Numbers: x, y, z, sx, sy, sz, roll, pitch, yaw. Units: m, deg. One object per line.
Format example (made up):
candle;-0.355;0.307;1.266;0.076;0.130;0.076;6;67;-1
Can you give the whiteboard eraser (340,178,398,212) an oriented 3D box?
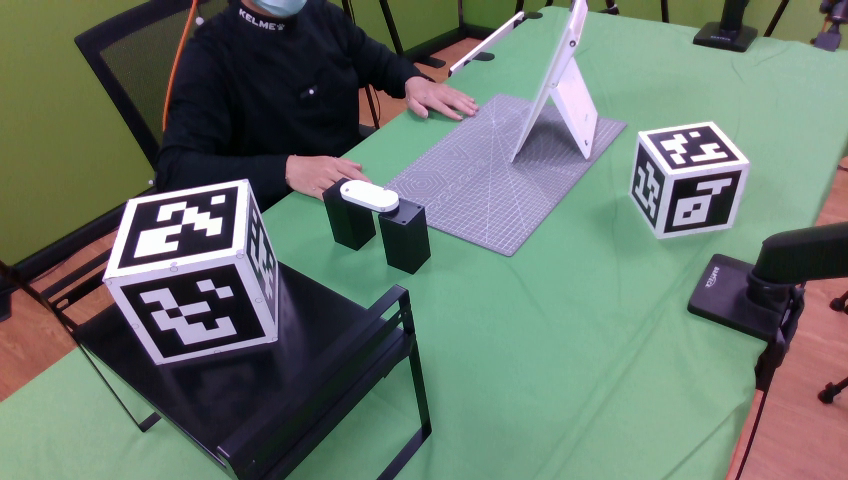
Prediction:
whiteboard eraser;-0.083;-0.068;0.906;0.100;0.019;0.041;20;49;29

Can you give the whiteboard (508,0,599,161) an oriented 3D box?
whiteboard;0.285;-0.289;1.088;0.144;0.305;0.217;22;45;3
